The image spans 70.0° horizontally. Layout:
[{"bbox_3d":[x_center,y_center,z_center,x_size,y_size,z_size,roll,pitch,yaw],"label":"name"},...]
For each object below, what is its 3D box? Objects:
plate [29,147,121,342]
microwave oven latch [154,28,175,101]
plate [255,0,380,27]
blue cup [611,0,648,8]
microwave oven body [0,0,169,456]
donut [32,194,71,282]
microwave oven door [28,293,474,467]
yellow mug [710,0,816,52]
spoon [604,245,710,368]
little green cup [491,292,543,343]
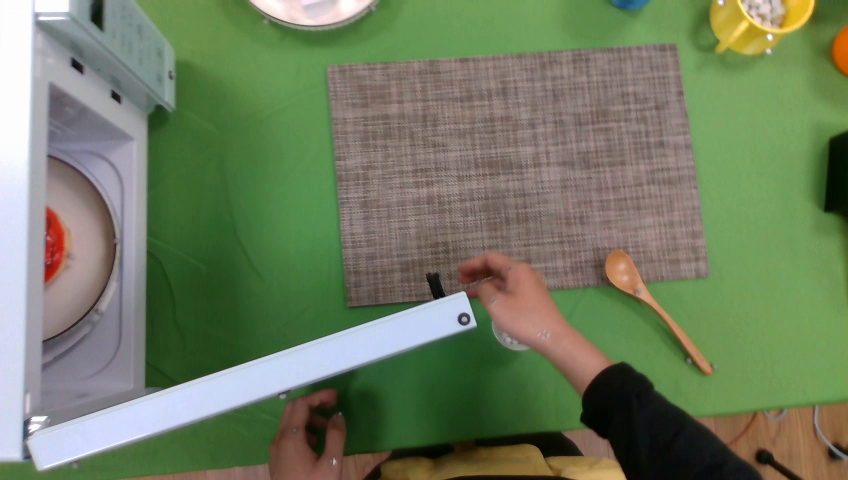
[{"bbox_3d":[-0.425,0.005,0.640,0.209,0.038,0.208,0,84,-3],"label":"plate"},{"bbox_3d":[-0.309,-0.206,0.711,0.030,0.029,0.079,1,85,-3],"label":"microwave oven latch"},{"bbox_3d":[-0.132,-0.361,0.755,0.208,0.039,0.207,0,84,-3],"label":"plate"},{"bbox_3d":[0.267,-0.335,0.742,0.093,0.100,0.092,0,85,-3],"label":"blue cup"},{"bbox_3d":[-0.447,-0.037,0.590,0.326,0.260,0.440,-2,85,-4],"label":"microwave oven body"},{"bbox_3d":[-0.421,-0.002,0.630,0.099,0.048,0.099,0,89,0],"label":"donut"},{"bbox_3d":[-0.134,0.118,0.586,0.356,0.244,0.039,-18,84,-5],"label":"microwave oven door"},{"bbox_3d":[0.415,-0.287,0.762,0.100,0.064,0.131,43,85,2],"label":"yellow mug"},{"bbox_3d":[0.285,0.084,0.737,0.041,0.021,0.193,-41,89,-22],"label":"spoon"},{"bbox_3d":[0.108,0.093,0.721,0.061,0.039,0.061,0,80,-2],"label":"little green cup"}]
